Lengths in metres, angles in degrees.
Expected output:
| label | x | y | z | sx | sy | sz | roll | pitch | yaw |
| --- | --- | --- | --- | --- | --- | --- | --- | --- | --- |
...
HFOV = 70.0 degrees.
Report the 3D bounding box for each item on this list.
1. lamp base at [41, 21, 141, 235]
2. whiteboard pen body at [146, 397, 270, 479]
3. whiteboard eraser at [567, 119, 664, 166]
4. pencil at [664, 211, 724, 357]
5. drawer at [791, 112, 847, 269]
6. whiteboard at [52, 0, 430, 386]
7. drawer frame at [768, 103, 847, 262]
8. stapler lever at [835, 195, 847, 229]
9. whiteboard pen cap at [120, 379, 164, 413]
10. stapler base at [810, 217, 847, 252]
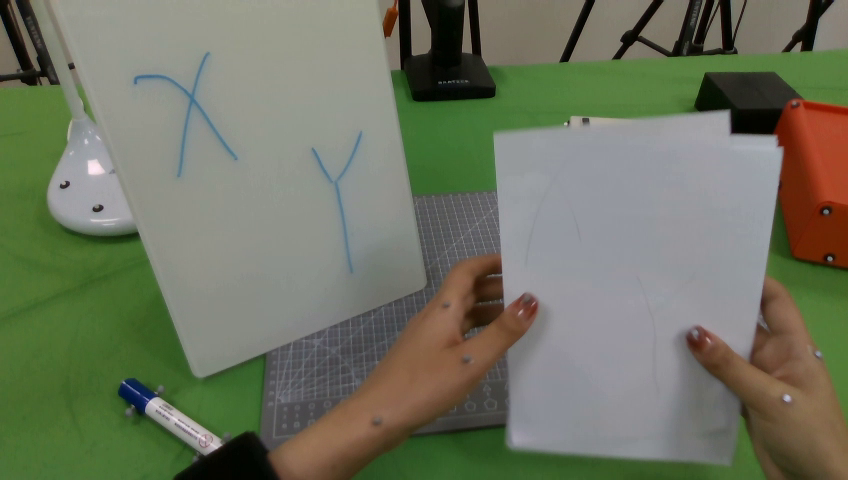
| label | x | y | z | sx | sy | sz | roll | pitch | yaw |
| --- | --- | --- | --- | --- | --- | --- | --- | --- | --- |
| lamp base | -0.331 | -0.121 | 0.621 | 0.178 | 0.182 | 0.160 | 23 | 45 | 26 |
| whiteboard pen body | -0.170 | 0.143 | 0.447 | 0.140 | 0.017 | 0.017 | 23 | 45 | 23 |
| whiteboard eraser | 0.234 | -0.120 | 0.748 | 0.112 | 0.042 | 0.055 | 6 | 43 | 5 |
| pencil | 0.262 | 0.036 | 0.589 | 0.012 | 0.012 | 0.192 | 3 | 43 | 1 |
| drawer | 0.496 | -0.049 | 0.646 | 0.194 | 0.074 | 0.210 | 12 | 41 | 12 |
| whiteboard | -0.142 | -0.074 | 0.523 | 0.218 | 0.307 | 0.142 | -20 | 26 | -22 |
| drawer frame | 0.496 | -0.052 | 0.648 | 0.201 | 0.083 | 0.212 | 11 | 41 | 11 |
| stapler lever | 0.471 | -0.019 | 0.599 | 0.118 | 0.040 | 0.026 | 11 | 56 | 8 |
| whiteboard pen cap | -0.218 | 0.121 | 0.470 | 0.033 | 0.018 | 0.018 | 22 | 45 | 25 |
| stapler base | 0.471 | -0.004 | 0.620 | 0.130 | 0.024 | 0.041 | 11 | 56 | 9 |
